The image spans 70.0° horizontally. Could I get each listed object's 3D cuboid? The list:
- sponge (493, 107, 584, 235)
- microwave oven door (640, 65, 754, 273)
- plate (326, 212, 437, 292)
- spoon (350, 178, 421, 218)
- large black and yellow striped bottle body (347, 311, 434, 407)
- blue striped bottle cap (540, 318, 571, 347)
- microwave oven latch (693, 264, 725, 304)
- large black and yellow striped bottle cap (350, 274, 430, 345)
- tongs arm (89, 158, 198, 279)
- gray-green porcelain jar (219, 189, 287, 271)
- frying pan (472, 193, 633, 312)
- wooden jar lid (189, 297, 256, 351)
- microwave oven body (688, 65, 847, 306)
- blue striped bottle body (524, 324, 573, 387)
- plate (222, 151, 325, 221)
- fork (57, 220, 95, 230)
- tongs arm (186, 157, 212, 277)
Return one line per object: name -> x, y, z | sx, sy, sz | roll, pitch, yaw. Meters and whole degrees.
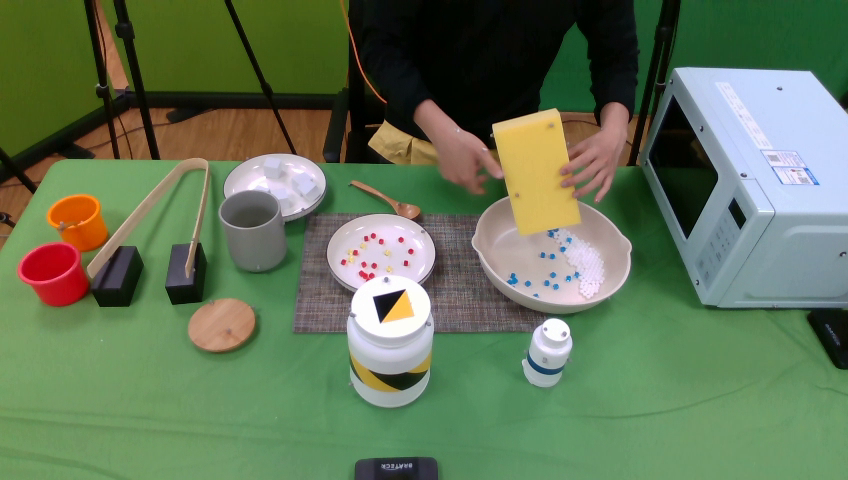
sponge -> 0.208, -0.124, 1.099 | 0.118, 0.207, 0.060 | -15, 21, 10
microwave oven door -> 0.524, -0.148, 1.193 | 0.039, 0.245, 0.353 | 0, 47, -3
plate -> -0.080, 0.030, 1.143 | 0.209, 0.038, 0.208 | 3, 46, -3
spoon -> -0.084, -0.093, 1.272 | 0.193, 0.022, 0.041 | 31, 68, 25
large black and yellow striped bottle body -> -0.052, 0.157, 0.929 | 0.131, 0.185, 0.130 | 2, 47, -2
blue striped bottle cap -> 0.203, 0.142, 0.933 | 0.044, 0.021, 0.044 | 3, 49, -3
microwave oven latch -> 0.522, 0.082, 1.116 | 0.030, 0.029, 0.078 | 2, 46, -1
large black and yellow striped bottle cap -> -0.048, 0.097, 0.868 | 0.115, 0.019, 0.114 | 3, 48, -3
tongs arm -> -0.529, -0.057, 1.164 | 0.028, 0.028, 0.385 | 1, 36, 8
gray-green porcelain jar -> -0.310, -0.014, 1.113 | 0.106, 0.127, 0.105 | 2, 46, -2
frying pan -> 0.234, -0.061, 1.208 | 0.307, 0.103, 0.484 | 2, 54, -6
wooden jar lid -> -0.342, 0.145, 1.033 | 0.108, 0.021, 0.107 | 2, 45, -2
microwave oven body -> 0.669, -0.111, 1.176 | 0.326, 0.261, 0.439 | 0, 46, -3
blue striped bottle body -> 0.200, 0.178, 0.970 | 0.063, 0.121, 0.062 | 2, 46, -2
plate -> -0.310, -0.106, 1.263 | 0.208, 0.039, 0.206 | 2, 47, -2
fork -> -0.624, -0.027, 1.087 | 0.028, 0.207, 0.018 | -3, 92, -17
tongs arm -> -0.445, -0.058, 1.168 | 0.051, 0.026, 0.382 | -5, 37, -6
